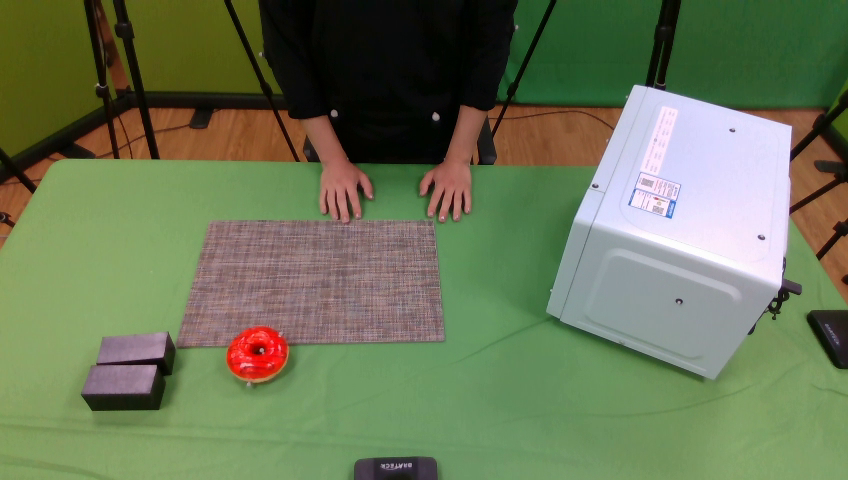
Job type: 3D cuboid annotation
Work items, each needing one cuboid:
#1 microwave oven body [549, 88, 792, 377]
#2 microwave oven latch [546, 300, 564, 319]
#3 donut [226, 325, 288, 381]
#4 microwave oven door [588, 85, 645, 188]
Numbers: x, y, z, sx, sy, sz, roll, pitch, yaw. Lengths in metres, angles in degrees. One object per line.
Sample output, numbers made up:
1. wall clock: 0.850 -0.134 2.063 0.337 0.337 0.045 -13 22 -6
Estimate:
1. microwave oven body: 0.456 -0.028 1.088 0.325 0.261 0.440 20 47 16
2. microwave oven latch: 0.242 0.102 1.081 0.030 0.029 0.079 21 48 17
3. donut: -0.270 0.182 0.984 0.099 0.048 0.098 5 49 -5
4. microwave oven door: 0.342 -0.107 1.149 0.039 0.245 0.354 20 48 15
